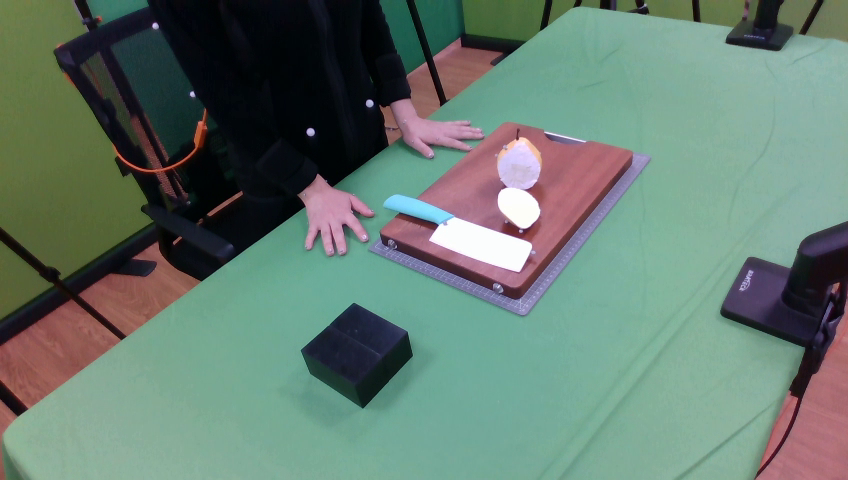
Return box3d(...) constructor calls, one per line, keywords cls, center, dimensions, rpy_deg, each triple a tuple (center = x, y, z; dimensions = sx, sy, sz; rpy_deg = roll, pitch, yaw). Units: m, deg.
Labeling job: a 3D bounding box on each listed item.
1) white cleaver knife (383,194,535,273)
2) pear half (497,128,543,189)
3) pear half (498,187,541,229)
box3d(cls="white cleaver knife", center=(0.043, -0.016, 0.954), dimensions=(0.284, 0.022, 0.066), rpy_deg=(21, 59, 33))
box3d(cls="pear half", center=(0.162, -0.145, 1.014), dimensions=(0.076, 0.110, 0.056), rpy_deg=(2, 41, 8))
box3d(cls="pear half", center=(0.149, -0.045, 0.957), dimensions=(0.071, 0.031, 0.087), rpy_deg=(4, 54, -9))
